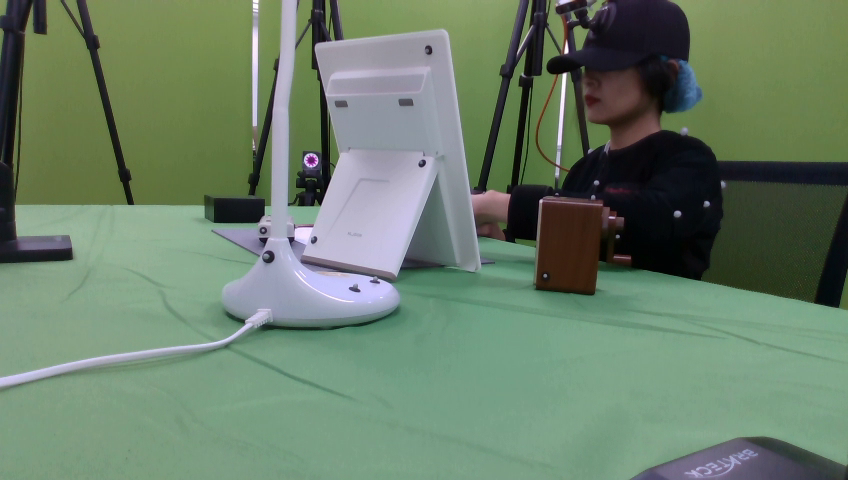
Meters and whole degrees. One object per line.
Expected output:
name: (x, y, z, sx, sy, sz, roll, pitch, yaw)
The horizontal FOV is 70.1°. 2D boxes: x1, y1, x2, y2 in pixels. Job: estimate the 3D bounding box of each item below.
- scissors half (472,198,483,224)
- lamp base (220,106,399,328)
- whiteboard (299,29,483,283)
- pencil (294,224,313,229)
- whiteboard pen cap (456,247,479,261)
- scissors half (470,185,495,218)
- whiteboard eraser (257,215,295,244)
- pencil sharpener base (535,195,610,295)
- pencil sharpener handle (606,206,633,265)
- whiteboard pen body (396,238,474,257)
scissors half: (0.064, -0.108, 1.156, 0.040, 0.175, 0.013, -19, -12, -16)
lamp base: (-0.101, -0.023, 0.531, 0.160, 0.180, 0.179, 4, 10, 10)
whiteboard: (-0.074, -0.082, 0.742, 0.216, 0.305, 0.144, 9, 30, 38)
pencil: (-0.218, -0.029, 1.207, 0.195, 0.012, 0.012, -5, 10, -37)
whiteboard pen cap: (0.060, 0.020, 0.851, 0.033, 0.018, 0.018, 10, 11, 37)
scissors half: (0.081, -0.116, 1.163, 0.040, 0.175, 0.013, -34, -7, -24)
whiteboard eraser: (-0.232, -0.016, 0.951, 0.056, 0.042, 0.112, 1, 7, -12)
pencil sharpener base: (0.172, 0.005, 0.695, 0.076, 0.107, 0.061, 5, 7, 16)
pencil sharpener handle: (0.223, -0.004, 0.683, 0.030, 0.068, 0.036, 5, 21, 17)
whiteboard pen body: (0.014, 0.012, 0.886, 0.140, 0.017, 0.017, 9, 10, 38)
